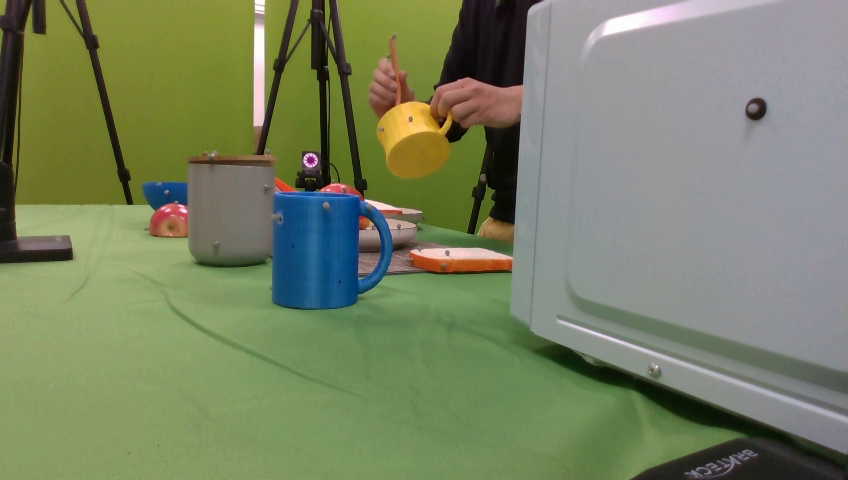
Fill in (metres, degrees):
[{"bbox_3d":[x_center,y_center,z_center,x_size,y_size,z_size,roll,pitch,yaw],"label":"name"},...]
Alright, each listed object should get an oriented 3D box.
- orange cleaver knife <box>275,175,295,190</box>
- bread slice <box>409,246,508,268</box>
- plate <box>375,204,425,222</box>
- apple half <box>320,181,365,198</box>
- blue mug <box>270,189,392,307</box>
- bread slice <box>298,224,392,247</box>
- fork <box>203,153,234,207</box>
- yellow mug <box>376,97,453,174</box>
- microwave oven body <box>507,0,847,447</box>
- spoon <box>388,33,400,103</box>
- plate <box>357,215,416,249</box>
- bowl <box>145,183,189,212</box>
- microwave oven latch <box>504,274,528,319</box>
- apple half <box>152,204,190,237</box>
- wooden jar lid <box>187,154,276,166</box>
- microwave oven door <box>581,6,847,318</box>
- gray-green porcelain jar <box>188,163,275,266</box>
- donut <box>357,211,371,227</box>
[{"bbox_3d":[-0.283,-0.087,1.343,0.212,0.077,0.012,24,-16,-41],"label":"orange cleaver knife"},{"bbox_3d":[0.048,0.022,0.816,0.132,0.019,0.104,0,6,-24],"label":"bread slice"},{"bbox_3d":[-0.102,-0.053,1.299,0.209,0.038,0.209,2,8,0],"label":"plate"},{"bbox_3d":[-0.130,-0.077,0.951,0.081,0.033,0.081,3,13,0],"label":"apple half"},{"bbox_3d":[-0.090,0.005,0.588,0.117,0.106,0.082,0,7,-11],"label":"blue mug"},{"bbox_3d":[-0.120,-0.009,0.970,0.106,0.018,0.135,6,12,41],"label":"bread slice"},{"bbox_3d":[-0.480,-0.135,1.411,0.028,0.018,0.207,1,-34,0],"label":"fork"},{"bbox_3d":[-0.006,-0.165,0.913,0.130,0.064,0.100,-37,-37,27],"label":"yellow mug"},{"bbox_3d":[0.331,-0.042,0.425,0.444,0.260,0.324,-2,8,-31],"label":"microwave oven body"},{"bbox_3d":[-0.045,-0.228,0.943,0.022,0.193,0.041,0,-5,-15],"label":"spoon"},{"bbox_3d":[-0.116,-0.014,0.967,0.208,0.039,0.207,2,7,0],"label":"plate"},{"bbox_3d":[-0.459,-0.069,1.175,0.151,0.077,0.151,2,7,0],"label":"bowl"},{"bbox_3d":[0.100,0.041,0.471,0.079,0.029,0.030,-1,7,-28],"label":"microwave oven latch"},{"bbox_3d":[-0.415,-0.034,1.017,0.081,0.053,0.074,1,10,-8],"label":"apple half"},{"bbox_3d":[-0.244,-0.097,0.771,0.108,0.020,0.108,-1,7,0],"label":"wooden jar lid"},{"bbox_3d":[0.295,-0.067,0.569,0.358,0.243,0.039,-3,8,-31],"label":"microwave oven door"},{"bbox_3d":[-0.246,-0.034,0.779,0.106,0.126,0.106,2,7,0],"label":"gray-green porcelain jar"},{"bbox_3d":[-0.132,-0.041,0.959,0.099,0.048,0.099,3,8,0],"label":"donut"}]
